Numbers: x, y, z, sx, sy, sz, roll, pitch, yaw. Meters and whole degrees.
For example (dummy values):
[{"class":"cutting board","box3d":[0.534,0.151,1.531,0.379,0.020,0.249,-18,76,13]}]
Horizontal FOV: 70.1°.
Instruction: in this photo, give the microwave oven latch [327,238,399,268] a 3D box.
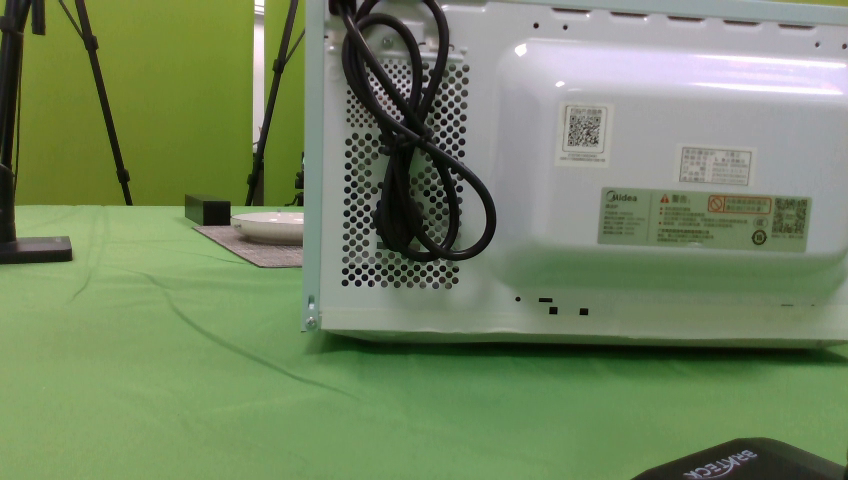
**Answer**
[{"class":"microwave oven latch","box3d":[-0.069,0.015,0.694,0.079,0.029,0.030,3,7,-3]}]

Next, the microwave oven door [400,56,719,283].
[{"class":"microwave oven door","box3d":[0.155,-0.077,0.698,0.356,0.243,0.039,2,8,-5]}]

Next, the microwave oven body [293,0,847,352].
[{"class":"microwave oven body","box3d":[0.122,-0.055,0.550,0.442,0.260,0.325,3,7,-5]}]

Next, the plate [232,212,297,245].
[{"class":"plate","box3d":[-0.214,-0.019,1.018,0.208,0.039,0.207,3,7,0]}]
